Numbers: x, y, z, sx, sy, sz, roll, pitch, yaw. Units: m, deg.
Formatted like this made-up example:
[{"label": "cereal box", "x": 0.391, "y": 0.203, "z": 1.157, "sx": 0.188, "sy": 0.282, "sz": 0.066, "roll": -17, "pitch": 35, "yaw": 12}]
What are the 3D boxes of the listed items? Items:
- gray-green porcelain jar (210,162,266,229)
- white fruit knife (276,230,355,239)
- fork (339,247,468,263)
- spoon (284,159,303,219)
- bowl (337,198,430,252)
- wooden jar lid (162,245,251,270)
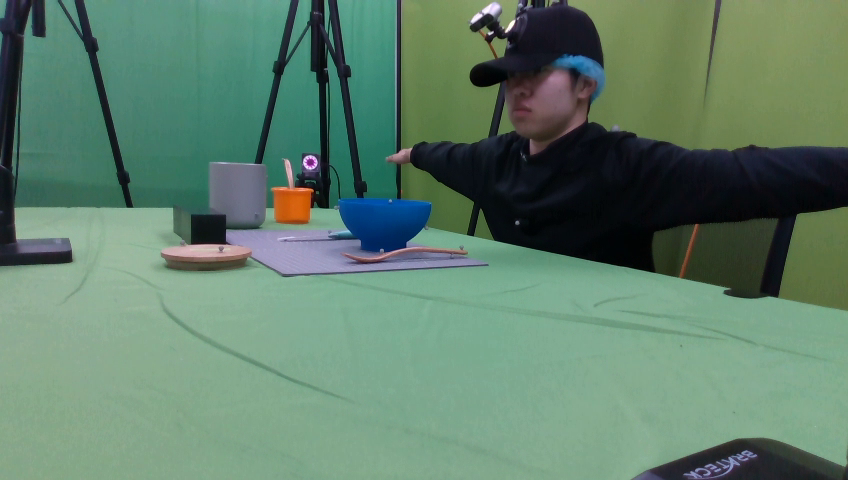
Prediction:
[{"label": "gray-green porcelain jar", "x": -0.367, "y": -0.088, "z": 1.195, "sx": 0.106, "sy": 0.126, "sz": 0.106, "roll": 3, "pitch": 8, "yaw": 0}, {"label": "white fruit knife", "x": -0.159, "y": -0.009, "z": 1.058, "sx": 0.208, "sy": 0.016, "sz": 0.027, "roll": -3, "pitch": -5, "yaw": -33}, {"label": "fork", "x": -0.023, "y": 0.020, "z": 0.863, "sx": 0.208, "sy": 0.018, "sz": 0.028, "roll": -4, "pitch": 3, "yaw": -31}, {"label": "spoon", "x": -0.302, "y": -0.118, "z": 1.370, "sx": 0.042, "sy": 0.193, "sz": 0.021, "roll": 4, "pitch": -38, "yaw": -24}, {"label": "bowl", "x": -0.066, "y": -0.024, "z": 0.967, "sx": 0.151, "sy": 0.077, "sz": 0.151, "roll": 2, "pitch": 7, "yaw": 0}, {"label": "wooden jar lid", "x": -0.278, "y": 0.022, "z": 0.777, "sx": 0.108, "sy": 0.020, "sz": 0.108, "roll": 2, "pitch": 6, "yaw": 0}]
